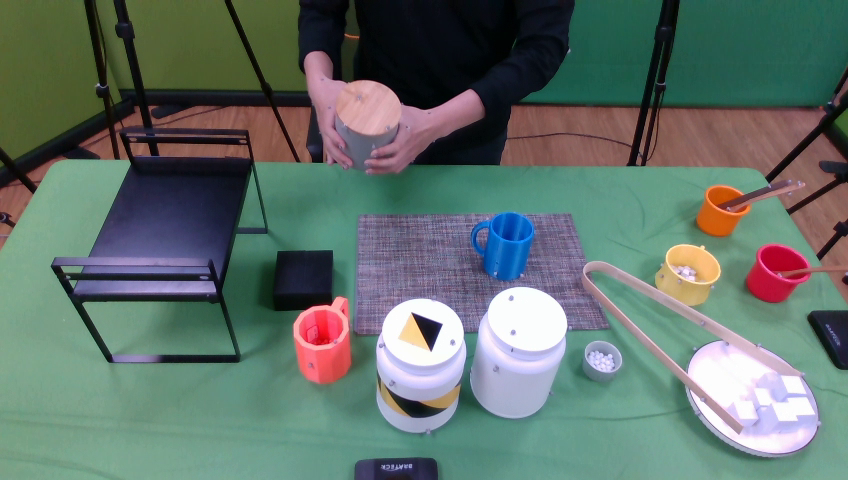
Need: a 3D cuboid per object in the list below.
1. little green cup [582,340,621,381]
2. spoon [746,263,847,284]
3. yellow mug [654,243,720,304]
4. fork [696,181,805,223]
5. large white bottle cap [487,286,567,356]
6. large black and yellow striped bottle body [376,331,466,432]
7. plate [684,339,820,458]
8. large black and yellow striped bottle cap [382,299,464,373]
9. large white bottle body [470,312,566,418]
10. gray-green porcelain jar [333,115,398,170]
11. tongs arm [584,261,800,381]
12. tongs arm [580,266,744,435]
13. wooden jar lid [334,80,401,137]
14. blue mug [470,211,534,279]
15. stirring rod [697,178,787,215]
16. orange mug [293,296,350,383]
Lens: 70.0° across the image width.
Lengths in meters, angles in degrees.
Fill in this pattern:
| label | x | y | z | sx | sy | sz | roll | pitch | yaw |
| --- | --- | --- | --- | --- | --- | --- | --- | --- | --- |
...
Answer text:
| label | x | y | z | sx | sy | sz | roll | pitch | yaw |
| --- | --- | --- | --- | --- | --- | --- | --- | --- | --- |
| little green cup | 0.295 | 0.204 | 1.014 | 0.061 | 0.039 | 0.061 | 2 | 45 | -2 |
| spoon | 0.696 | 0.057 | 1.113 | 0.193 | 0.022 | 0.041 | -16 | 27 | 48 |
| yellow mug | 0.504 | 0.054 | 1.154 | 0.099 | 0.064 | 0.130 | 28 | 50 | 22 |
| fork | 0.659 | -0.077 | 1.232 | 0.207 | 0.019 | 0.028 | -26 | 35 | 34 |
| large white bottle cap | 0.147 | 0.115 | 0.869 | 0.115 | 0.018 | 0.114 | 3 | 46 | -3 |
| large black and yellow striped bottle body | -0.007 | 0.189 | 0.905 | 0.131 | 0.185 | 0.130 | 2 | 46 | -2 |
| plate | 0.523 | 0.256 | 0.982 | 0.208 | 0.039 | 0.206 | 2 | 46 | -2 |
| large black and yellow striped bottle cap | -0.002 | 0.132 | 0.843 | 0.115 | 0.019 | 0.114 | 2 | 46 | -1 |
| large white bottle body | 0.143 | 0.173 | 0.930 | 0.131 | 0.185 | 0.130 | 2 | 46 | -2 |
| gray-green porcelain jar | -0.102 | -0.189 | 1.045 | 0.106 | 0.127 | 0.105 | 4 | 68 | -9 |
| tongs arm | 0.452 | 0.137 | 1.064 | 0.051 | 0.027 | 0.382 | -34 | 50 | -27 |
| tongs arm | 0.384 | 0.173 | 1.028 | 0.028 | 0.028 | 0.385 | -25 | 46 | -15 |
| wooden jar lid | -0.092 | -0.212 | 0.988 | 0.108 | 0.021 | 0.108 | 5 | 66 | -10 |
| blue mug | 0.141 | 0.005 | 1.140 | 0.116 | 0.106 | 0.082 | 18 | 48 | 13 |
| stirring rod | 0.650 | -0.088 | 1.246 | 0.006 | 0.176 | 0.014 | 29 | 50 | -39 |
| orange mug | -0.157 | 0.154 | 0.985 | 0.083 | 0.101 | 0.125 | 17 | 52 | 11 |
